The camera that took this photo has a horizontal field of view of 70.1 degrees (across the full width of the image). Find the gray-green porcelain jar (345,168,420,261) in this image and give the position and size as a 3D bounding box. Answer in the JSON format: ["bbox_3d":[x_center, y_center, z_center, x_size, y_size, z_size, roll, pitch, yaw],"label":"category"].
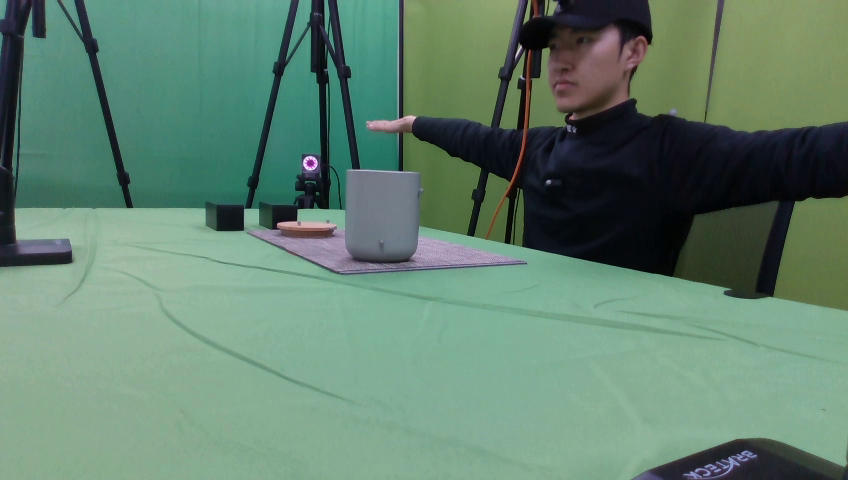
[{"bbox_3d":[-0.059,-0.037,0.858,0.106,0.126,0.106,2,7,0],"label":"gray-green porcelain jar"}]

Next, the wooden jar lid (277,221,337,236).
[{"bbox_3d":[-0.215,-0.021,1.112,0.108,0.020,0.108,3,7,0],"label":"wooden jar lid"}]
